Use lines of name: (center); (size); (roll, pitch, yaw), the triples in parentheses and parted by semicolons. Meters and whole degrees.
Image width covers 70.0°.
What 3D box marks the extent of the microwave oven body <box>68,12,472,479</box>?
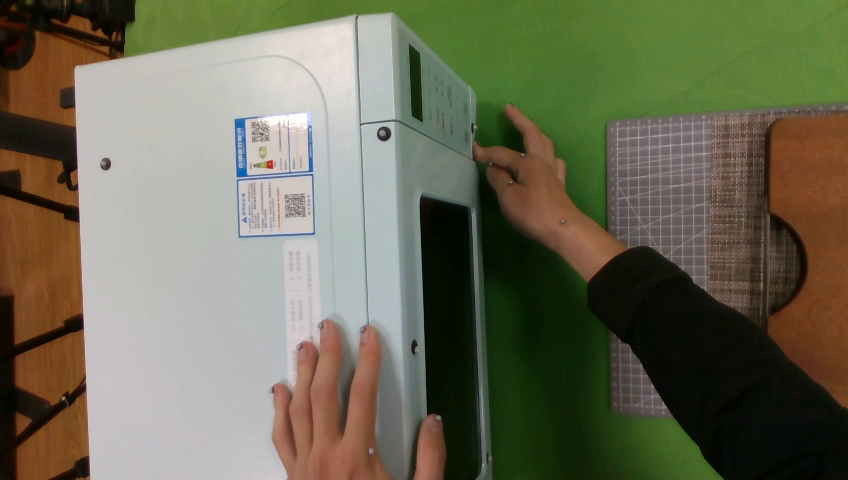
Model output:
microwave oven body: (-0.125, 0.060, 0.594); (0.325, 0.261, 0.441); (-3, 90, 19)

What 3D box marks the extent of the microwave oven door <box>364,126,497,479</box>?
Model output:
microwave oven door: (0.013, 0.095, 0.541); (0.039, 0.245, 0.355); (-3, 89, 20)

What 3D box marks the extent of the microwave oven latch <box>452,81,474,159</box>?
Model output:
microwave oven latch: (0.037, -0.125, 0.637); (0.030, 0.029, 0.079); (3, 92, 19)

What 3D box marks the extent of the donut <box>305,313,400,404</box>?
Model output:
donut: (-0.073, 0.120, 0.614); (0.099, 0.048, 0.099); (2, 110, 7)

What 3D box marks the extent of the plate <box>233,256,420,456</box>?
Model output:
plate: (-0.101, 0.120, 0.640); (0.207, 0.039, 0.207); (0, 89, 15)

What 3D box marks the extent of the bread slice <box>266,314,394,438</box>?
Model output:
bread slice: (-0.094, 0.137, 0.571); (0.134, 0.018, 0.107); (-23, 86, 31)

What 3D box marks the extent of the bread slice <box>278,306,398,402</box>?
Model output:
bread slice: (-0.094, 0.124, 0.657); (0.131, 0.019, 0.105); (2, 101, 6)
